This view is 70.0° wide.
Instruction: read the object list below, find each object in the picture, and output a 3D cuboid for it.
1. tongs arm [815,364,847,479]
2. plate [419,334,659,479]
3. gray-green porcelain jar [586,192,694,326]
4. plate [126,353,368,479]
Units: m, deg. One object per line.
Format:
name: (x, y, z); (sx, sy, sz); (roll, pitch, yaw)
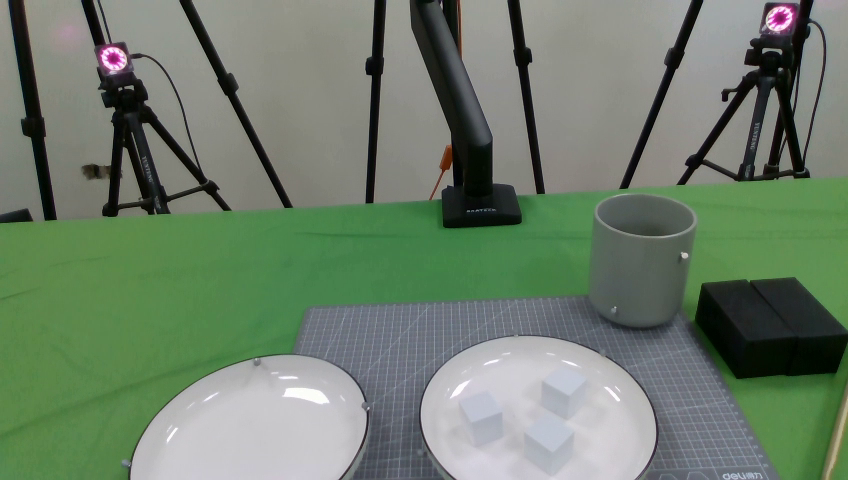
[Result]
tongs arm: (0.425, 0.128, 0.586); (0.028, 0.028, 0.387); (23, 40, 33)
plate: (0.100, 0.165, 0.547); (0.207, 0.039, 0.206); (-3, 30, 2)
gray-green porcelain jar: (0.238, 0.025, 0.682); (0.106, 0.127, 0.105); (-3, 30, 2)
plate: (-0.152, 0.184, 0.545); (0.209, 0.038, 0.207); (-4, 30, 3)
